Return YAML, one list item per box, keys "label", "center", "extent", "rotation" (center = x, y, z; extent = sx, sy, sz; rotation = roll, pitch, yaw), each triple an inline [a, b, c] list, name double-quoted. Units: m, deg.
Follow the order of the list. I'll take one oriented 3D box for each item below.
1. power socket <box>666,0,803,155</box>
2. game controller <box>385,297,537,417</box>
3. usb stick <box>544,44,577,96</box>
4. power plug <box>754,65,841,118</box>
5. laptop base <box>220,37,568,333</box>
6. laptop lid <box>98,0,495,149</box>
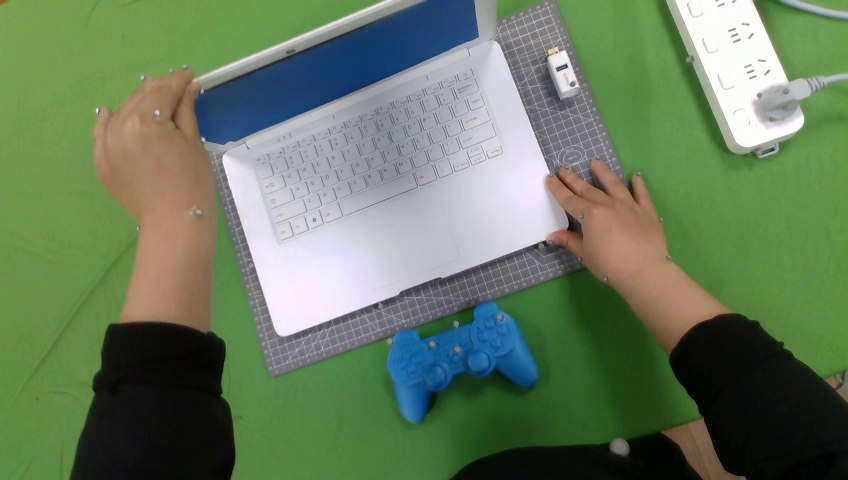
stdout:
- label: "power socket"
  center: [0.317, -0.199, 0.631]
  extent: [0.072, 0.033, 0.226]
  rotation: [-19, 81, 9]
- label: "game controller"
  center: [0.034, 0.122, 0.643]
  extent: [0.155, 0.052, 0.096]
  rotation: [-20, 77, 8]
- label: "usb stick"
  center: [0.147, -0.190, 0.662]
  extent: [0.021, 0.027, 0.059]
  rotation: [-22, 78, 12]
- label: "power plug"
  center: [0.364, -0.141, 0.596]
  extent: [0.072, 0.053, 0.035]
  rotation: [-7, 81, 5]
- label: "laptop base"
  center: [-0.044, -0.060, 0.690]
  extent: [0.354, 0.023, 0.235]
  rotation: [-21, 84, 7]
- label: "laptop lid"
  center: [-0.099, -0.163, 0.589]
  extent: [0.356, 0.241, 0.013]
  rotation: [-21, 92, 9]
